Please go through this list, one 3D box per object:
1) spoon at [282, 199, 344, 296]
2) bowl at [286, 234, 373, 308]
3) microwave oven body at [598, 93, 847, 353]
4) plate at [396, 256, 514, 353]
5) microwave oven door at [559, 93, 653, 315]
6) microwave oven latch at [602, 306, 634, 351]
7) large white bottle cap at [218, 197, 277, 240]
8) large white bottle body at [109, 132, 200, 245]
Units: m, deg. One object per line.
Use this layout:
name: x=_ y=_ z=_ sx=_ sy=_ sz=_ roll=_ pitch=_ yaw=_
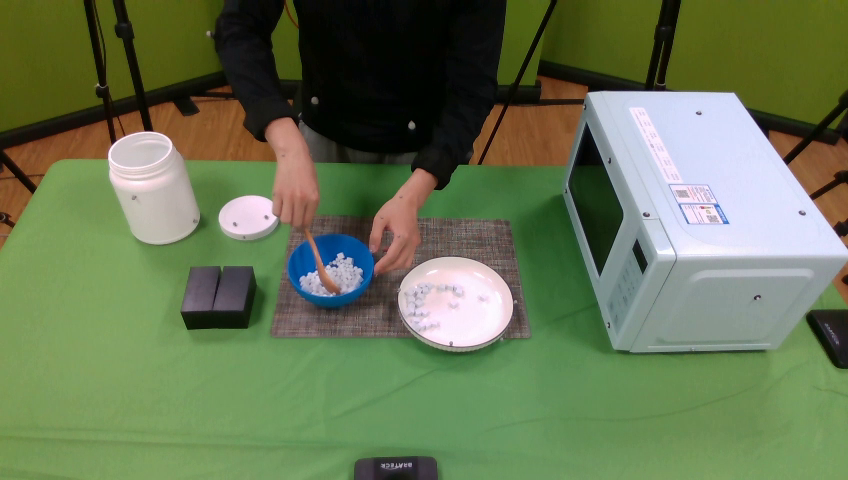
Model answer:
spoon: x=-0.195 y=0.013 z=1.049 sx=0.021 sy=0.041 sz=0.193 roll=-21 pitch=80 yaw=-57
bowl: x=-0.166 y=0.069 z=1.078 sx=0.151 sy=0.077 sz=0.150 roll=3 pitch=45 yaw=-3
microwave oven body: x=0.475 y=-0.041 z=1.109 sx=0.326 sy=0.261 sz=0.438 roll=-1 pitch=45 yaw=-4
plate: x=0.053 y=0.116 z=1.077 sx=0.209 sy=0.038 sz=0.208 roll=2 pitch=46 yaw=-2
microwave oven door: x=0.327 y=-0.074 z=1.123 sx=0.039 sy=0.245 sz=0.353 roll=-1 pitch=46 yaw=-5
microwave oven latch: x=0.332 y=0.153 z=1.044 sx=0.030 sy=0.029 sz=0.078 roll=0 pitch=45 yaw=-4
large white bottle cap: x=-0.355 y=-0.045 z=1.220 sx=0.115 sy=0.018 sz=0.114 roll=2 pitch=45 yaw=-2
large white bottle body: x=-0.506 y=-0.097 z=1.141 sx=0.131 sy=0.185 sz=0.130 roll=2 pitch=46 yaw=-2
